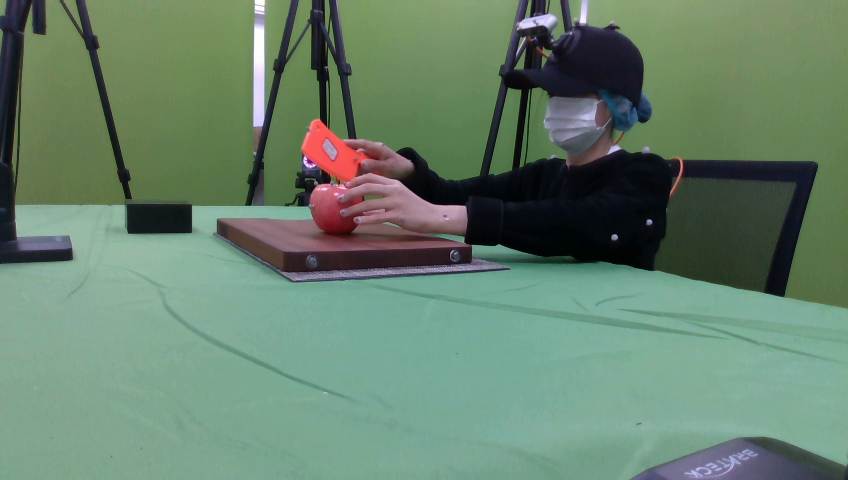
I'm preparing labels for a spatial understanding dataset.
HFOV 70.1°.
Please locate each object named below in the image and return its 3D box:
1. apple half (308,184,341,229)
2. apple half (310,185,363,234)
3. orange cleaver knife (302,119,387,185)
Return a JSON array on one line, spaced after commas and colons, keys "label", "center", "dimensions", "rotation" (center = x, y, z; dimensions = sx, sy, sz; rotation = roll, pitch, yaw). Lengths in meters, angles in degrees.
[{"label": "apple half", "center": [-0.152, -0.051, 0.930], "dimensions": [0.082, 0.081, 0.032], "rotation": [-4, 14, -45]}, {"label": "apple half", "center": [-0.124, -0.045, 0.903], "dimensions": [0.081, 0.074, 0.053], "rotation": [1, 11, -45]}, {"label": "orange cleaver knife", "center": [-0.128, -0.132, 1.006], "dimensions": [0.012, 0.077, 0.212], "rotation": [1, -13, 32]}]
